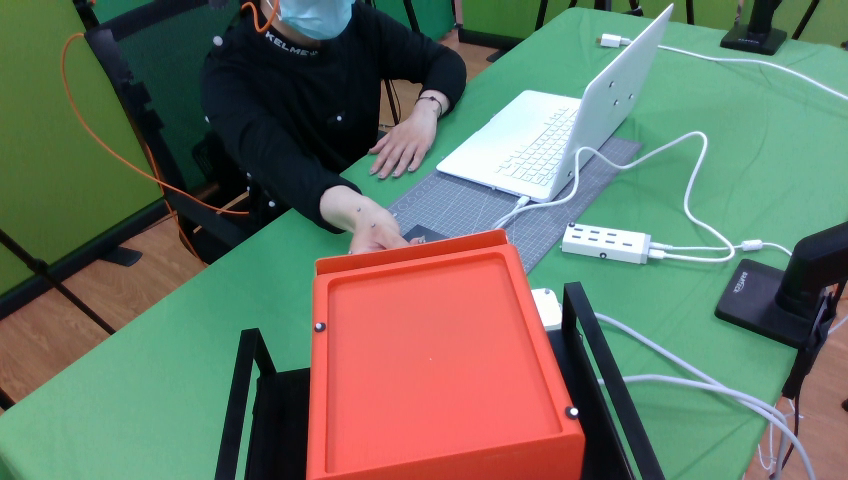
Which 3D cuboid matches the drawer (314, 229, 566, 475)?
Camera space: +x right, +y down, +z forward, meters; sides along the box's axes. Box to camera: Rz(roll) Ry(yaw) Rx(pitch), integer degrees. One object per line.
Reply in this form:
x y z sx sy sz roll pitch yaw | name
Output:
0.003 0.094 0.541 0.195 0.073 0.210 -9 41 -3 | drawer

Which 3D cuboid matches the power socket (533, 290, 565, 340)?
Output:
0.081 0.112 0.822 0.227 0.033 0.072 -6 41 0 | power socket

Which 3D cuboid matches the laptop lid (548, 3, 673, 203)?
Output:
0.320 -0.235 1.026 0.013 0.242 0.357 31 50 20 | laptop lid

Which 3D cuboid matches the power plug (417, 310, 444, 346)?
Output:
0.007 0.123 0.785 0.035 0.053 0.072 0 39 8 | power plug

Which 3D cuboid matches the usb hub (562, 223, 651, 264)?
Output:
0.279 0.005 0.926 0.124 0.025 0.049 10 43 19 | usb hub

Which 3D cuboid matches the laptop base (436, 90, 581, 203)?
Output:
0.214 -0.192 1.172 0.233 0.023 0.355 19 46 32 | laptop base

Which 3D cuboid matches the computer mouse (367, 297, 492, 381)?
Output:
0.003 0.087 0.570 0.116 0.041 0.063 13 47 30 | computer mouse

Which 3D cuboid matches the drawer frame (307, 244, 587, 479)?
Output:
0.008 0.110 0.519 0.202 0.083 0.212 -9 41 -3 | drawer frame

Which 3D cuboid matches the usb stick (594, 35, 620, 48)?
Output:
0.443 -0.482 1.466 0.059 0.021 0.027 10 43 9 | usb stick
